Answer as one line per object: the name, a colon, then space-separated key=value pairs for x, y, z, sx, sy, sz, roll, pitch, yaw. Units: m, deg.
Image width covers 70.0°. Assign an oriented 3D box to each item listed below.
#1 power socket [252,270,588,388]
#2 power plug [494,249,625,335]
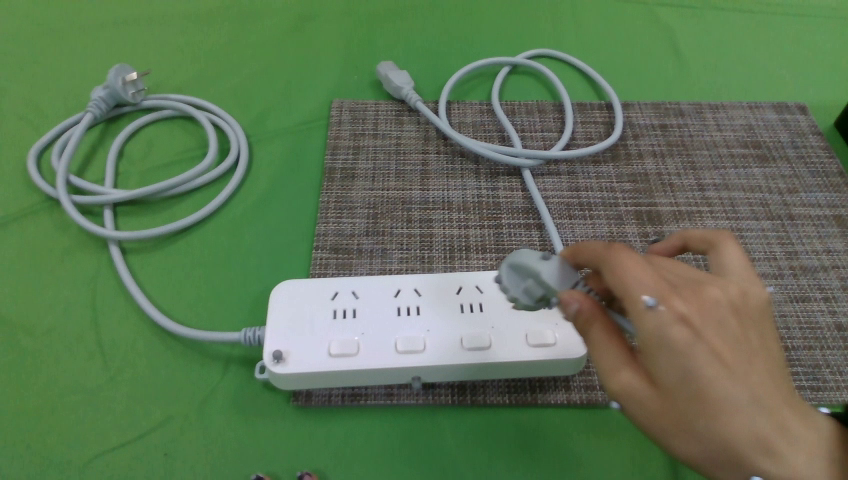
power socket: x=0.000 y=0.058 z=0.406 sx=0.227 sy=0.033 sz=0.071 roll=-2 pitch=52 yaw=-3
power plug: x=0.068 y=0.036 z=0.339 sx=0.035 sy=0.053 sz=0.072 roll=-28 pitch=74 yaw=-25
